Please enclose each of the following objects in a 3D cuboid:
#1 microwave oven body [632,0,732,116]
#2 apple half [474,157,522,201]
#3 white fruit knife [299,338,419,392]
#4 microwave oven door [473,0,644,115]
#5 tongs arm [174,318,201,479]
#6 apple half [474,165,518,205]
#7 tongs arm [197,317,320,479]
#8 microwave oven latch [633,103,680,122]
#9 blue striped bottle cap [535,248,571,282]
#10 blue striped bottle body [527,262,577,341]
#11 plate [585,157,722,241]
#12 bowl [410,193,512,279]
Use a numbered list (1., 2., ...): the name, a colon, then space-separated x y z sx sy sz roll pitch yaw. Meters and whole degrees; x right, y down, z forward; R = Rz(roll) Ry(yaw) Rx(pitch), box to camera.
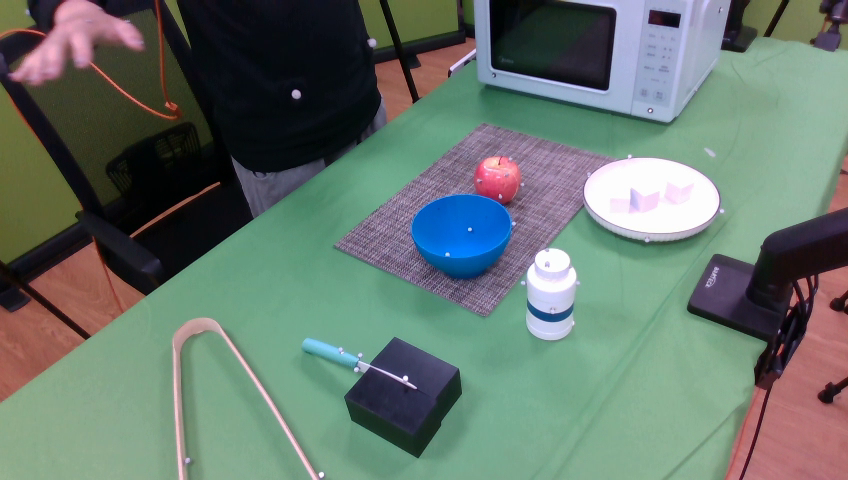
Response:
1. microwave oven body: 0.377 -0.462 1.267 0.438 0.261 0.327 21 48 30
2. apple half: 0.130 -0.107 1.031 0.080 0.075 0.053 8 38 22
3. white fruit knife: -0.087 0.156 0.762 0.206 0.027 0.016 11 44 36
4. microwave oven door: 0.257 -0.396 1.199 0.353 0.245 0.039 21 48 29
5. tongs arm: -0.272 0.234 0.723 0.051 0.026 0.381 -19 40 -14
6. apple half: 0.115 -0.084 1.005 0.081 0.081 0.033 11 41 20
7. tongs arm: -0.199 0.206 0.750 0.028 0.028 0.384 -31 45 -22
8. microwave oven latch: 0.443 -0.249 1.157 0.078 0.029 0.030 20 48 30
9. blue striped bottle cap: 0.161 0.031 0.753 0.044 0.021 0.044 -4 42 4
10. blue striped bottle body: 0.165 0.070 0.786 0.063 0.121 0.063 -4 41 4
11. plate: 0.367 -0.063 0.979 0.207 0.039 0.206 -4 40 4
12. bowl: 0.058 0.005 0.905 0.151 0.077 0.150 -4 40 4
